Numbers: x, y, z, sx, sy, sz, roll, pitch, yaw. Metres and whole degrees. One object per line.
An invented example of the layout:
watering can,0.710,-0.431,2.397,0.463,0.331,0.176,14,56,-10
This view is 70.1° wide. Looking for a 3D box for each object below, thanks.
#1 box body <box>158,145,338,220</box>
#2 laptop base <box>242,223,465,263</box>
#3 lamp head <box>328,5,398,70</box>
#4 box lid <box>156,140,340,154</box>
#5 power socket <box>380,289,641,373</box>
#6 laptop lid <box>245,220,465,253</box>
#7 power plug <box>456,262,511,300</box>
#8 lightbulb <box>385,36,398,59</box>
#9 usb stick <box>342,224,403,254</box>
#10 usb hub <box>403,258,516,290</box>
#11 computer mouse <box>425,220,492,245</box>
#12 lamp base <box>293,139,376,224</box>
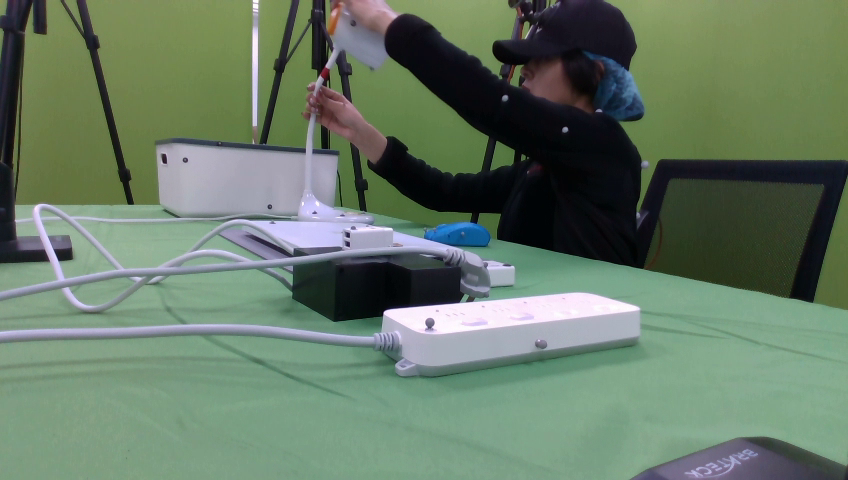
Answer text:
box body,-0.410,-0.139,1.414,0.366,0.160,0.253,-3,8,-33
laptop base,-0.126,0.003,0.946,0.237,0.023,0.352,2,6,-31
lamp head,-0.128,-0.408,1.197,0.123,0.112,0.112,15,2,-22
box lid,-0.409,-0.212,1.404,0.373,0.015,0.262,-2,8,-32
power socket,0.072,0.064,0.461,0.228,0.032,0.072,-2,8,-30
laptop lid,-0.124,-0.009,0.945,0.243,0.013,0.355,1,7,-29
power plug,0.052,0.051,0.543,0.035,0.052,0.072,6,38,-20
lightbulb,-0.103,-0.406,1.208,0.108,0.059,0.059,33,3,-9
usb stick,-0.047,-0.001,0.567,0.059,0.027,0.021,0,5,-32
usb hub,0.042,0.038,0.690,0.126,0.025,0.049,-2,10,-30
computer mouse,0.060,-0.013,1.060,0.117,0.041,0.062,-2,9,-6
lamp base,-0.194,-0.121,1.257,0.179,0.180,0.161,-1,6,7
